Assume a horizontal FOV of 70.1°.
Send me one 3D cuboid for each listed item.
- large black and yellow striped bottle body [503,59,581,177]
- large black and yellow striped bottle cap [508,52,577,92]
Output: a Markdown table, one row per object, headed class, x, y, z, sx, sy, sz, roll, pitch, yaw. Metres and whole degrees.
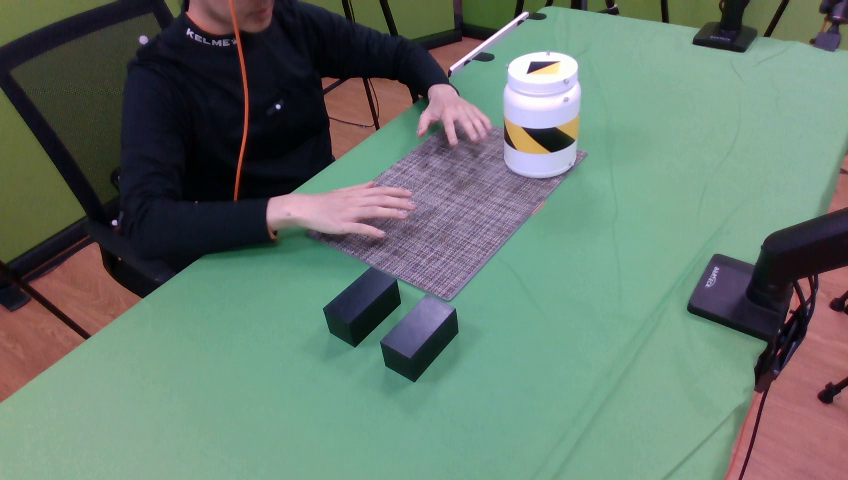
| class | x | y | z | sx | sy | sz | roll | pitch | yaw |
| --- | --- | --- | --- | --- | --- | --- | --- | --- | --- |
| large black and yellow striped bottle body | 0.206 | -0.218 | 1.061 | 0.131 | 0.185 | 0.130 | -4 | 41 | 4 |
| large black and yellow striped bottle cap | 0.197 | -0.281 | 1.008 | 0.115 | 0.019 | 0.114 | -4 | 42 | 4 |
